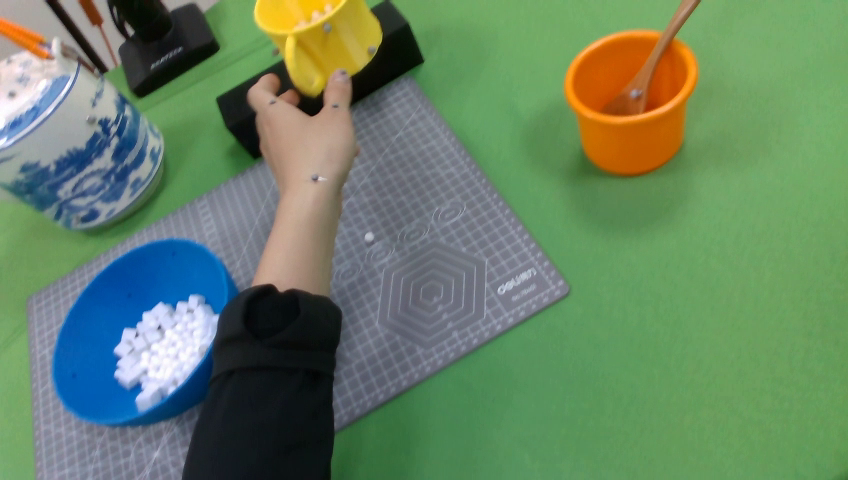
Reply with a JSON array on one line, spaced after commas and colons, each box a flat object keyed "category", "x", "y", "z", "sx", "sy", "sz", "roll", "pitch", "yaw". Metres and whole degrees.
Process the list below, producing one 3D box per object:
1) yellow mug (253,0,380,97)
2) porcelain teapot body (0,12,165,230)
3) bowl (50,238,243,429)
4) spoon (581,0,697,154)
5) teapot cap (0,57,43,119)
[{"category": "yellow mug", "x": -0.101, "y": -0.190, "z": 0.556, "sx": 0.099, "sy": 0.064, "sz": 0.130, "roll": -1, "pitch": 61, "yaw": 19}, {"category": "porcelain teapot body", "x": -0.395, "y": -0.104, "z": 0.576, "sx": 0.205, "sy": 0.228, "sz": 0.143, "roll": -26, "pitch": 55, "yaw": 4}, {"category": "bowl", "x": -0.199, "y": 0.081, "z": 0.476, "sx": 0.151, "sy": 0.077, "sz": 0.150, "roll": -9, "pitch": 57, "yaw": 15}, {"category": "spoon", "x": 0.174, "y": -0.144, "z": 0.437, "sx": 0.022, "sy": 0.194, "sz": 0.041, "roll": -2, "pitch": 44, "yaw": -35}, {"category": "teapot cap", "x": -0.381, "y": -0.135, "z": 0.541, "sx": 0.085, "sy": 0.044, "sz": 0.084, "roll": -10, "pitch": 59, "yaw": 17}]
